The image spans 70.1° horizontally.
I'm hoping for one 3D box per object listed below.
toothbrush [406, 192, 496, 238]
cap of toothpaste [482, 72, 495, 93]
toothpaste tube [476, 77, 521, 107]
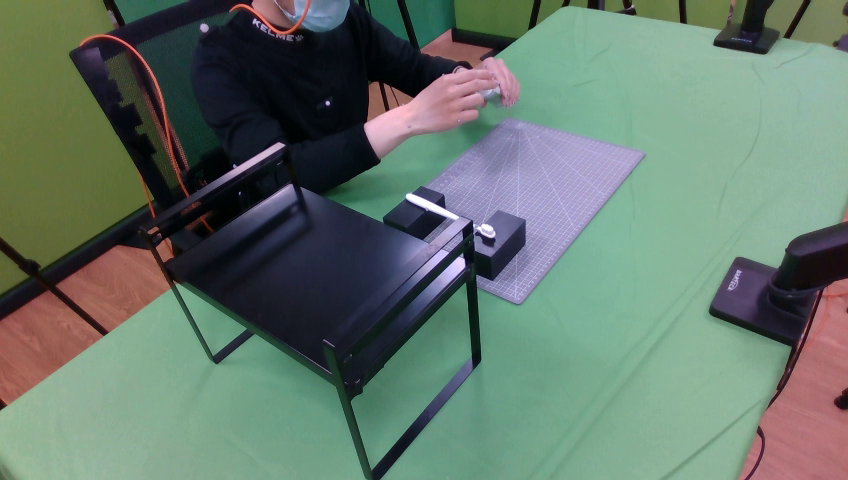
[{"bbox_3d":[0.038,-0.043,0.937,0.180,0.017,0.014,26,66,35],"label":"toothbrush"},{"bbox_3d":[0.112,-0.275,1.056,0.011,0.037,0.037,16,46,29],"label":"cap of toothpaste"},{"bbox_3d":[0.137,-0.279,1.144,0.055,0.034,0.166,-9,-3,24],"label":"toothpaste tube"}]
